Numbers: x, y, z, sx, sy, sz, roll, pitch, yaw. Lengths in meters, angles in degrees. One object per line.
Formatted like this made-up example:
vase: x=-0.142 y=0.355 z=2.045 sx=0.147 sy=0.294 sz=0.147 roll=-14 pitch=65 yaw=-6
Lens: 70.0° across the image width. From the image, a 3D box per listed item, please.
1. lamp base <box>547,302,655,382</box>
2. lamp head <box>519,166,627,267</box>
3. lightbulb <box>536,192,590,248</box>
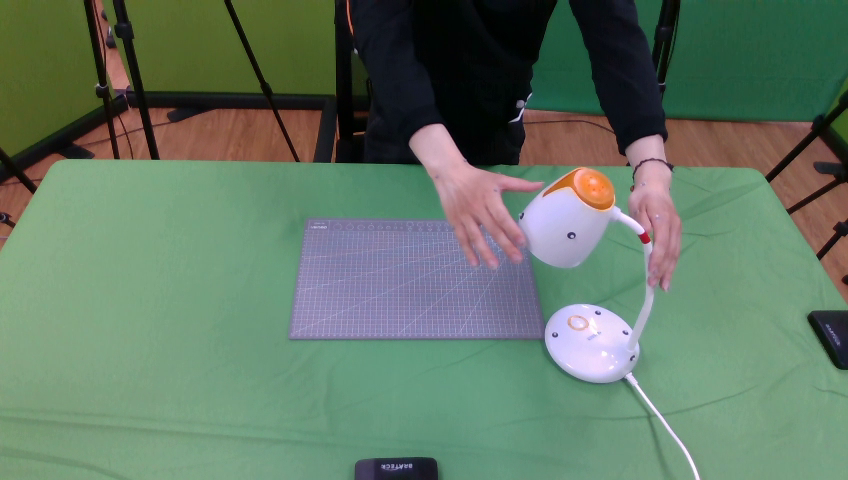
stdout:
lamp base: x=0.303 y=0.127 z=0.982 sx=0.160 sy=0.181 sz=0.178 roll=-33 pitch=59 yaw=-29
lamp head: x=0.202 y=-0.037 z=0.803 sx=0.113 sy=0.123 sz=0.112 roll=12 pitch=56 yaw=-18
lightbulb: x=0.193 y=-0.030 z=0.825 sx=0.059 sy=0.108 sz=0.059 roll=8 pitch=59 yaw=-13
